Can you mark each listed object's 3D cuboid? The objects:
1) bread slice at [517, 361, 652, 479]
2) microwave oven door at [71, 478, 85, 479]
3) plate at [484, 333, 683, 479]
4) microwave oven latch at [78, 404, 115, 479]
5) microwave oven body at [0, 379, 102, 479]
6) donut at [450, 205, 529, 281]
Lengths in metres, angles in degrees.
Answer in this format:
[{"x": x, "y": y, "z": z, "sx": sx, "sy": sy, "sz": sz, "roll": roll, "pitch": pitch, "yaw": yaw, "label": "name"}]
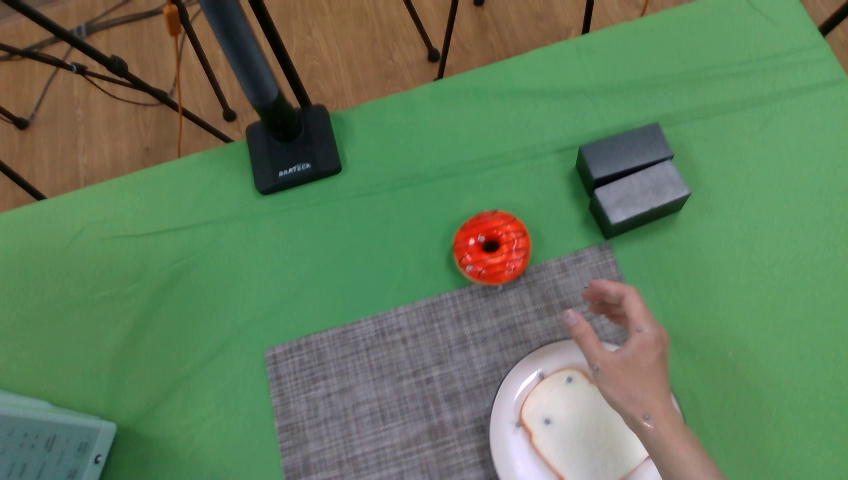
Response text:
[{"x": 0.166, "y": 0.201, "z": 0.664, "sx": 0.105, "sy": 0.019, "sz": 0.130, "roll": -37, "pitch": 70, "yaw": -7, "label": "bread slice"}, {"x": -0.454, "y": 0.400, "z": 0.545, "sx": 0.039, "sy": 0.245, "sz": 0.354, "roll": 9, "pitch": 71, "yaw": 12, "label": "microwave oven door"}, {"x": 0.170, "y": 0.207, "z": 0.660, "sx": 0.207, "sy": 0.039, "sz": 0.206, "roll": -2, "pitch": 69, "yaw": 6, "label": "plate"}, {"x": -0.391, "y": 0.235, "z": 0.708, "sx": 0.030, "sy": 0.030, "sz": 0.079, "roll": 12, "pitch": 72, "yaw": 11, "label": "microwave oven latch"}, {"x": -0.586, "y": 0.340, "z": 0.590, "sx": 0.325, "sy": 0.262, "sz": 0.439, "roll": 10, "pitch": 72, "yaw": 11, "label": "microwave oven body"}, {"x": 0.081, "y": 0.004, "z": 0.747, "sx": 0.099, "sy": 0.048, "sz": 0.098, "roll": -4, "pitch": 67, "yaw": 10, "label": "donut"}]
